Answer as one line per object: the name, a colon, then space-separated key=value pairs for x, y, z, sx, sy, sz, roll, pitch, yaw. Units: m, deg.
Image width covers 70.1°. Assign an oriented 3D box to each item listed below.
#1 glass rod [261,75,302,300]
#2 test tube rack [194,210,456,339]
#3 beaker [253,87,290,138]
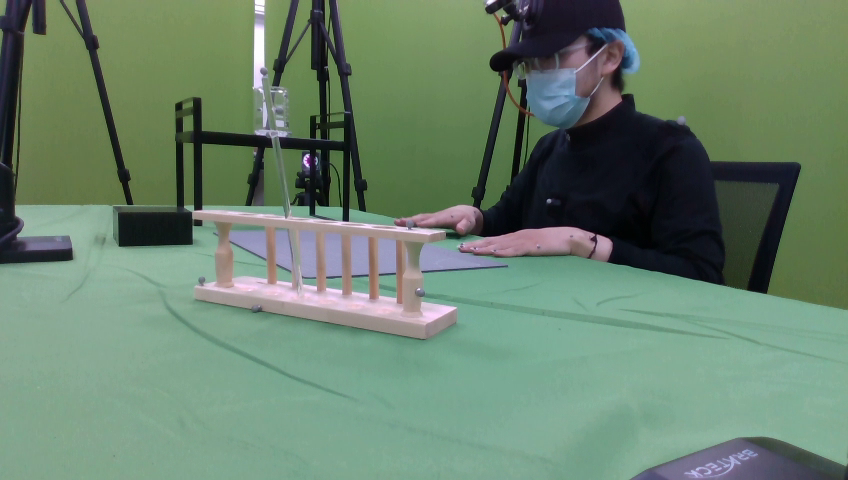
glass rod: x=-0.124 y=-0.043 z=0.531 sx=0.008 sy=0.199 sz=0.008 roll=-7 pitch=8 yaw=1
test tube rack: x=-0.093 y=0.023 z=0.545 sx=0.241 sy=0.085 sz=0.067 roll=6 pitch=8 yaw=25
beaker: x=-0.319 y=-0.265 z=1.259 sx=0.073 sy=0.100 sz=0.084 roll=7 pitch=9 yaw=33
